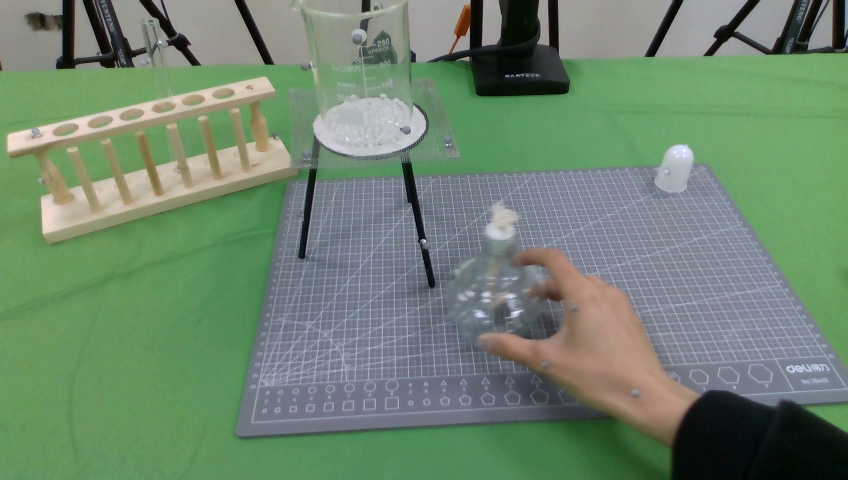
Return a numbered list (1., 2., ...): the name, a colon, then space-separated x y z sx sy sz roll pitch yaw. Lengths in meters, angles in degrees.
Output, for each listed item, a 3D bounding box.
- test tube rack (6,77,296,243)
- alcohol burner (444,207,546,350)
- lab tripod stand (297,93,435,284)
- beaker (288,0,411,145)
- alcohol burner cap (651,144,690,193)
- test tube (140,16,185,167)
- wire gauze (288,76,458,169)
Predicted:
1. test tube rack: -0.260 -0.084 0.601 0.243 0.086 0.066 -19 45 -19
2. alcohol burner: 0.054 0.025 0.452 0.078 0.120 0.077 -1 40 1
3. lab tripod stand: -0.044 -0.044 0.514 0.148 0.133 0.147 -1 44 1
4. beaker: -0.048 -0.126 0.435 0.084 0.101 0.073 -1 42 1
5. alcohol burner cap: 0.252 -0.075 0.615 0.034 0.048 0.033 0 42 0
6. test tube: -0.251 -0.138 0.586 0.017 0.151 0.017 3 36 -1
7. wire gauze: -0.045 -0.092 0.470 0.125 0.011 0.120 -8 41 -4
